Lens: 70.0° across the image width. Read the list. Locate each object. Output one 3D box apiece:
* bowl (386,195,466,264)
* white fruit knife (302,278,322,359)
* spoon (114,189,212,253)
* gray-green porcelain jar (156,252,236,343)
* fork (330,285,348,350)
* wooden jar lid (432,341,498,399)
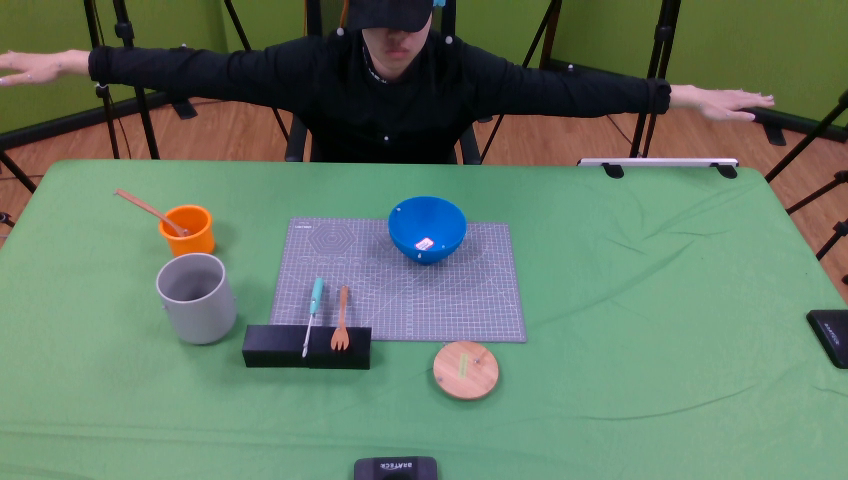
[{"bbox_3d":[0.003,-0.007,1.162,0.151,0.077,0.150,2,46,-2],"label":"bowl"},{"bbox_3d":[-0.189,0.126,1.020,0.016,0.027,0.206,0,33,-2],"label":"white fruit knife"},{"bbox_3d":[-0.475,-0.037,1.109,0.021,0.195,0.041,-29,34,31],"label":"spoon"},{"bbox_3d":[-0.371,0.100,0.999,0.106,0.127,0.105,2,46,-2],"label":"gray-green porcelain jar"},{"bbox_3d":[-0.140,0.127,1.021,0.028,0.019,0.206,-5,28,-2],"label":"fork"},{"bbox_3d":[0.067,0.216,0.997,0.108,0.021,0.107,1,46,-1],"label":"wooden jar lid"}]
